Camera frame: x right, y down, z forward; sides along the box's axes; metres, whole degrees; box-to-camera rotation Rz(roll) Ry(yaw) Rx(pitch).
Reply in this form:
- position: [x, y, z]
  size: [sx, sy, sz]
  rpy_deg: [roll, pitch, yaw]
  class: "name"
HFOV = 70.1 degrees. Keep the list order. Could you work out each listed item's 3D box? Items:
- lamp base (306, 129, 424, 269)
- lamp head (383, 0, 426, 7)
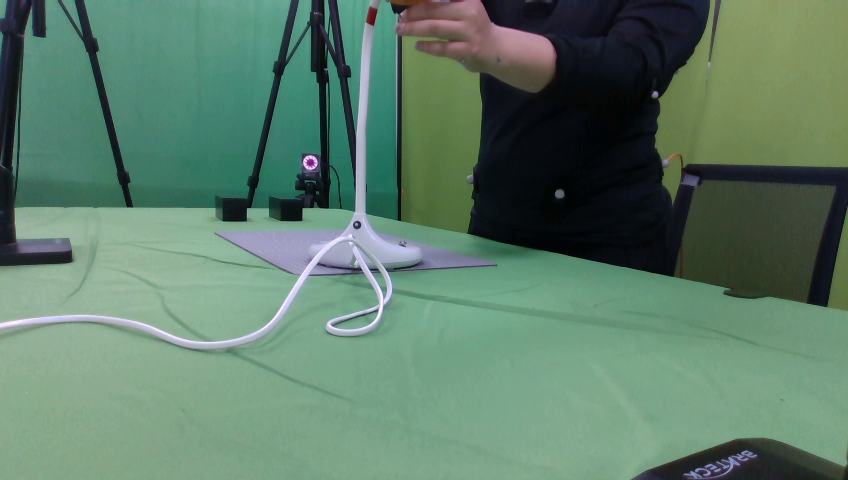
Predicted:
- position: [-0.077, -0.057, 0.810]
  size: [0.161, 0.180, 0.179]
  rpy_deg: [2, 10, -4]
  class: "lamp base"
- position: [-0.024, -0.325, 0.671]
  size: [0.112, 0.123, 0.112]
  rpy_deg: [4, 3, 0]
  class: "lamp head"
